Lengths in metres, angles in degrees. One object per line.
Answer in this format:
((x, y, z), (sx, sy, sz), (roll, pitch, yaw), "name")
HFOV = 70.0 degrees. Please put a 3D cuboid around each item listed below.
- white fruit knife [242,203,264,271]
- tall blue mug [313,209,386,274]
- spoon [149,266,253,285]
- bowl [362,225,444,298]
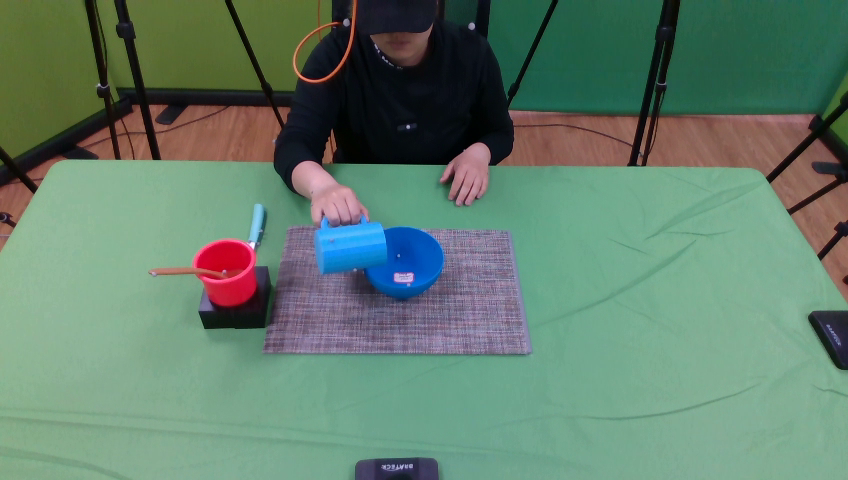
((-0.334, 0.001, 1.178), (0.027, 0.016, 0.206), (-18, 46, 16), "white fruit knife")
((-0.128, -0.003, 1.021), (0.108, 0.077, 0.107), (-9, 87, -18), "tall blue mug")
((-0.351, 0.052, 0.968), (0.041, 0.021, 0.194), (41, 13, 28), "spoon")
((-0.040, 0.053, 1.099), (0.151, 0.077, 0.150), (2, 46, -2), "bowl")
